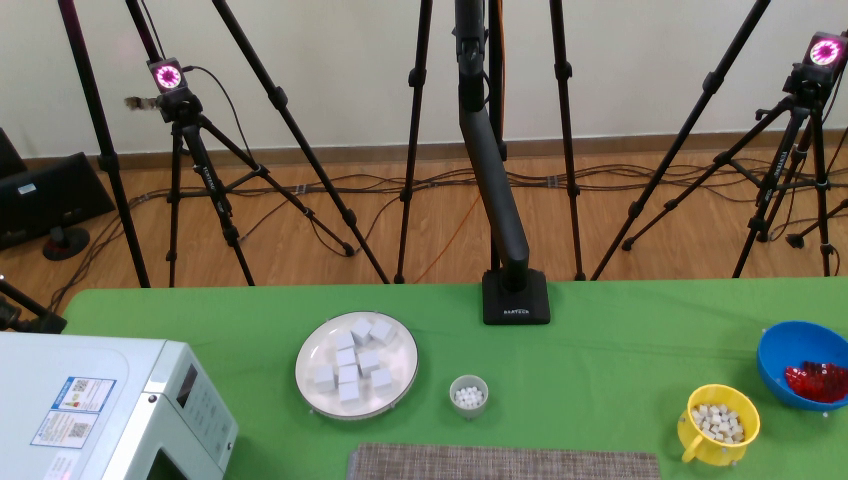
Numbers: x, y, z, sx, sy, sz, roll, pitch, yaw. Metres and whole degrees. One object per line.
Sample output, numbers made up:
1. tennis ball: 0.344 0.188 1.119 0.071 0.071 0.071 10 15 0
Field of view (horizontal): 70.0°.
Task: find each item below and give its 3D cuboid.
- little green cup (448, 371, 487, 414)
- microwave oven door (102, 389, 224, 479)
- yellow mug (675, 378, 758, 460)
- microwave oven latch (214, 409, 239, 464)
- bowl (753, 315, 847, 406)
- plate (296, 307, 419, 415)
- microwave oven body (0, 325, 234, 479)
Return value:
1. little green cup: 0.071 0.246 0.969 0.061 0.039 0.061 -3 46 3
2. microwave oven door: -0.341 0.389 0.707 0.039 0.246 0.352 1 47 7
3. yellow mug: 0.419 0.273 0.892 0.131 0.064 0.099 -34 53 -22
4. microwave oven latch: -0.309 0.300 0.929 0.030 0.030 0.078 3 48 8
5. bowl: 0.582 0.199 0.937 0.151 0.077 0.150 -3 47 4
6. plate: -0.110 0.206 1.025 0.207 0.039 0.205 -3 46 3
7. microwave oven body: -0.482 0.359 0.756 0.326 0.263 0.437 2 48 6
